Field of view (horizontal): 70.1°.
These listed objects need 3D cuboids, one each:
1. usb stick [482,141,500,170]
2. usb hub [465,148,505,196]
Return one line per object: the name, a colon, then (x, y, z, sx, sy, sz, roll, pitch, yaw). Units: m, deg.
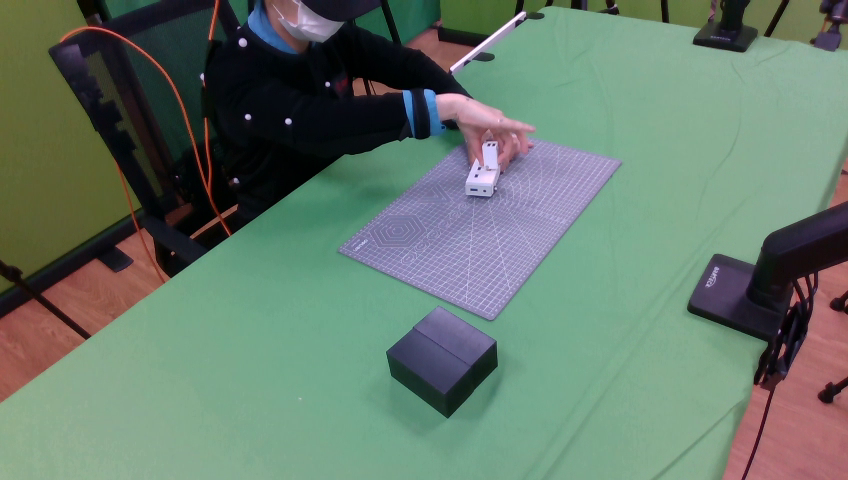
usb stick: (0.118, -0.143, 1.053, 0.027, 0.059, 0.021, 4, 43, 14)
usb hub: (0.111, -0.123, 1.082, 0.049, 0.025, 0.125, 5, 41, 17)
